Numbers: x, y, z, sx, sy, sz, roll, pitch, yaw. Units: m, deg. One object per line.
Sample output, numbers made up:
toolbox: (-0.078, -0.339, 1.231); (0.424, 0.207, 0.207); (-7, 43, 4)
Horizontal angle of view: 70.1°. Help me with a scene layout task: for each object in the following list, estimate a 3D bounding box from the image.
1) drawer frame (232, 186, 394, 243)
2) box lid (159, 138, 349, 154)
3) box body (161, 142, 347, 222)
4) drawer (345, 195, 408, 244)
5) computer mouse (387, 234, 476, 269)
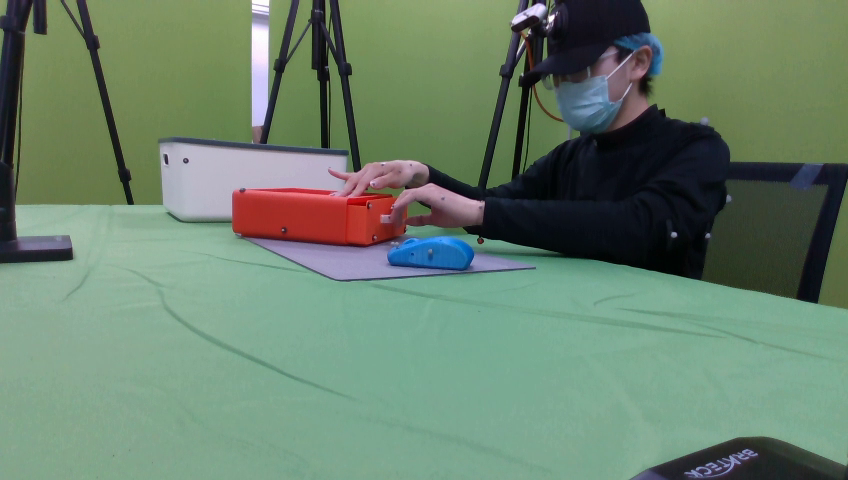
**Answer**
drawer frame: (-0.186, -0.049, 1.059); (0.213, 0.082, 0.202); (4, 8, 17)
box lid: (-0.376, -0.206, 1.344); (0.373, 0.015, 0.262); (-1, 8, -30)
box body: (-0.380, -0.132, 1.352); (0.366, 0.160, 0.253); (-2, 9, -30)
drawer: (-0.155, -0.045, 1.052); (0.211, 0.073, 0.195); (4, 8, 17)
computer mouse: (0.010, 0.014, 0.805); (0.117, 0.041, 0.063); (-1, 8, 10)
